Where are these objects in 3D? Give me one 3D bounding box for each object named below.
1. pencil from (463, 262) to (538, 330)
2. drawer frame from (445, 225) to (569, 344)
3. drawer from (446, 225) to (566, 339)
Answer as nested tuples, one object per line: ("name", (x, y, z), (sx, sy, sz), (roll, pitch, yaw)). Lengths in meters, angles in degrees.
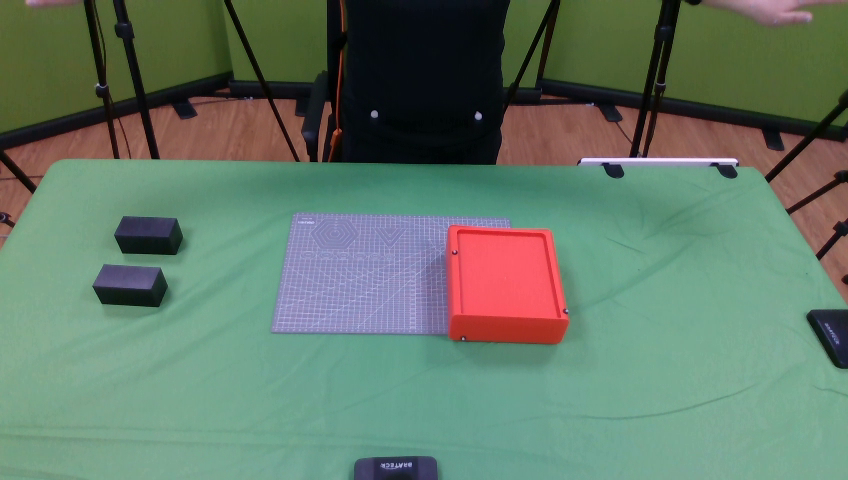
("pencil", (0.135, 0.098, 1.098), (0.012, 0.012, 0.193), (-29, 54, -28))
("drawer frame", (0.141, 0.076, 1.089), (0.202, 0.083, 0.212), (3, 47, -4))
("drawer", (0.139, 0.073, 1.094), (0.194, 0.073, 0.210), (3, 47, -3))
